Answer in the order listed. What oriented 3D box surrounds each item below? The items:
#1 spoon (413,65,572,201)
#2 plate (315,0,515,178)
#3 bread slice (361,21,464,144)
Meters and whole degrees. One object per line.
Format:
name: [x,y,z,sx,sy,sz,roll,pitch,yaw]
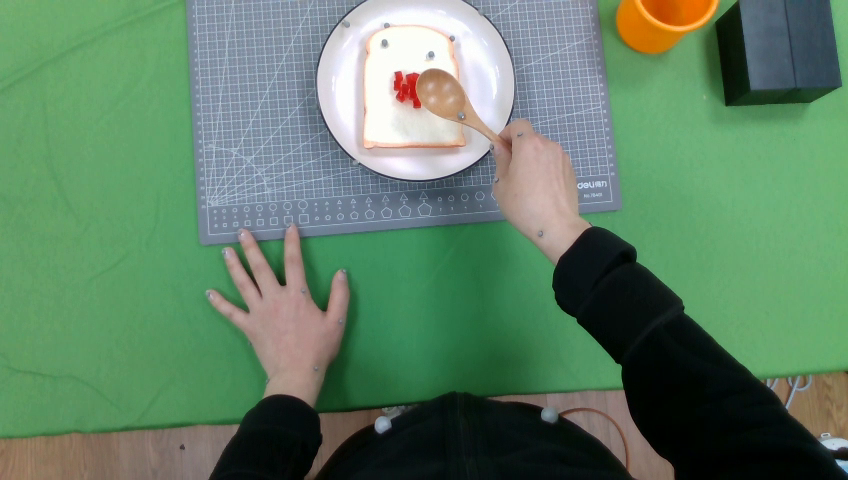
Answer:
spoon: [0.065,-0.101,0.579,0.193,0.022,0.041,42,85,12]
plate: [-0.009,-0.165,0.641,0.209,0.038,0.208,0,84,-3]
bread slice: [-0.017,-0.166,0.642,0.107,0.018,0.134,-4,85,-4]
